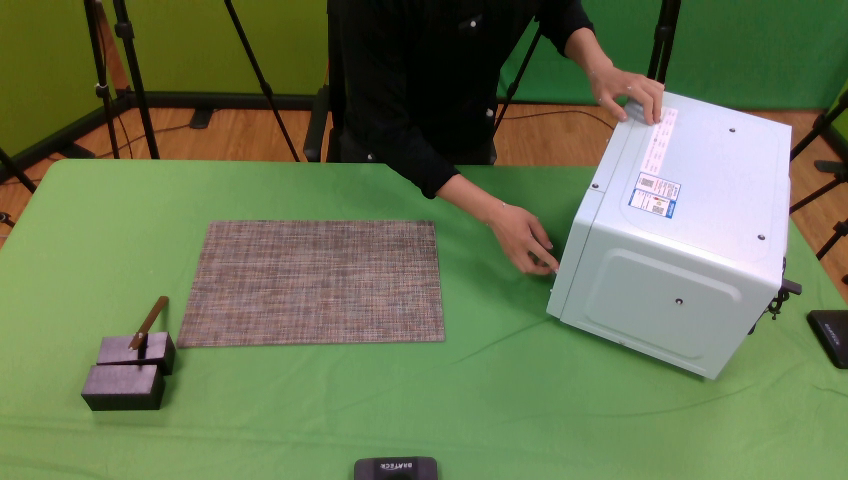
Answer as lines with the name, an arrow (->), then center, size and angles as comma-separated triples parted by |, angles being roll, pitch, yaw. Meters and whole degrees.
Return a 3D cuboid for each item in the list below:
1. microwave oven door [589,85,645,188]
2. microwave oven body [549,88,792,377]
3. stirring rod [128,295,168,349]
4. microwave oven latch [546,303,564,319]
microwave oven door -> 0.342, -0.107, 1.149 | 0.039, 0.245, 0.354 | 21, 48, 15
microwave oven body -> 0.456, -0.028, 1.088 | 0.325, 0.261, 0.440 | 20, 47, 16
stirring rod -> -0.451, 0.131, 0.996 | 0.014, 0.006, 0.175 | 9, 21, -10
microwave oven latch -> 0.242, 0.102, 1.081 | 0.030, 0.029, 0.079 | 22, 48, 17
